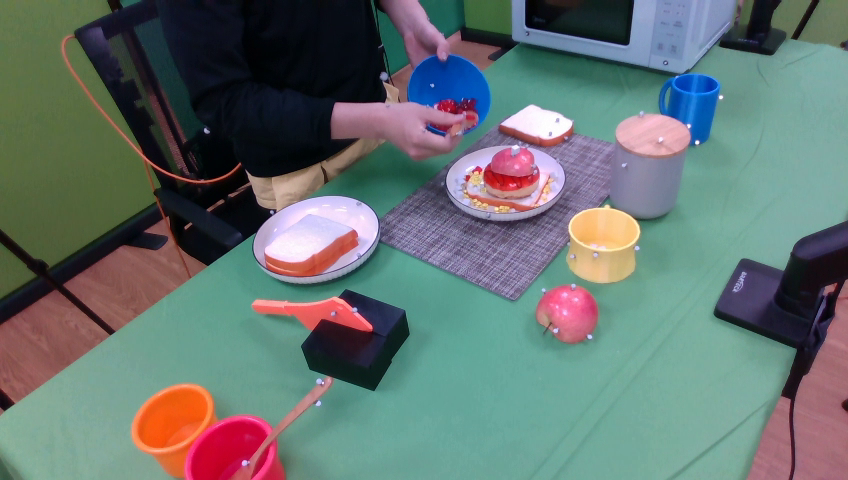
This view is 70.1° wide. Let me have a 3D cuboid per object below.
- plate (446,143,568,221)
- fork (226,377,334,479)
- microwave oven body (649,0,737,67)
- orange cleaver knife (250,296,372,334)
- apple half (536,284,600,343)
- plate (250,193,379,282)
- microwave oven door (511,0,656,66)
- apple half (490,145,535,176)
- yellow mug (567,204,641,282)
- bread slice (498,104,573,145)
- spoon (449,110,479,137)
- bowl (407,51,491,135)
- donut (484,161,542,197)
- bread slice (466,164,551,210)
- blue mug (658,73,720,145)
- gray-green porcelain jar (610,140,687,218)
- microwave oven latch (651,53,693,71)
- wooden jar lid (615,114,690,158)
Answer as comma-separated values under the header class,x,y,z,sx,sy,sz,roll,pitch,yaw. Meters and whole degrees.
class,x,y,z,sx,sy,sz,roll,pitch,yaw
plate,0.142,-0.097,1.045,0.207,0.039,0.206,-4,40,4
fork,-0.163,0.216,0.647,0.207,0.019,0.028,-49,41,16
microwave oven body,0.475,-0.602,1.411,0.438,0.261,0.327,23,50,32
orange cleaver knife,-0.159,0.103,0.828,0.210,0.078,0.012,-4,43,39
apple half,0.196,0.091,0.815,0.075,0.053,0.080,-22,42,-20
plate,-0.174,-0.001,0.984,0.209,0.038,0.208,-3,40,3
microwave oven door,0.350,-0.539,1.348,0.353,0.245,0.039,24,50,31
apple half,0.147,-0.138,0.993,0.081,0.033,0.081,2,37,-1
yellow mug,0.268,-0.005,0.905,0.099,0.064,0.130,6,42,15
bread slice,0.231,-0.231,1.205,0.105,0.019,0.130,-36,47,-28
spoon,0.055,-0.178,0.914,0.041,0.021,0.194,-3,16,12
bowl,0.037,-0.248,1.077,0.152,0.076,0.151,3,78,-12
donut,0.149,-0.109,1.016,0.099,0.048,0.098,-4,40,4
bread slice,0.141,-0.094,1.040,0.133,0.018,0.107,9,42,20
blue mug,0.483,-0.250,1.127,0.082,0.106,0.115,-26,44,-19
gray-green porcelain jar,0.354,-0.106,0.964,0.106,0.127,0.105,-4,41,4
microwave oven latch,0.532,-0.387,1.301,0.078,0.029,0.030,27,52,34
wooden jar lid,0.347,-0.155,0.923,0.108,0.021,0.108,-3,44,4
